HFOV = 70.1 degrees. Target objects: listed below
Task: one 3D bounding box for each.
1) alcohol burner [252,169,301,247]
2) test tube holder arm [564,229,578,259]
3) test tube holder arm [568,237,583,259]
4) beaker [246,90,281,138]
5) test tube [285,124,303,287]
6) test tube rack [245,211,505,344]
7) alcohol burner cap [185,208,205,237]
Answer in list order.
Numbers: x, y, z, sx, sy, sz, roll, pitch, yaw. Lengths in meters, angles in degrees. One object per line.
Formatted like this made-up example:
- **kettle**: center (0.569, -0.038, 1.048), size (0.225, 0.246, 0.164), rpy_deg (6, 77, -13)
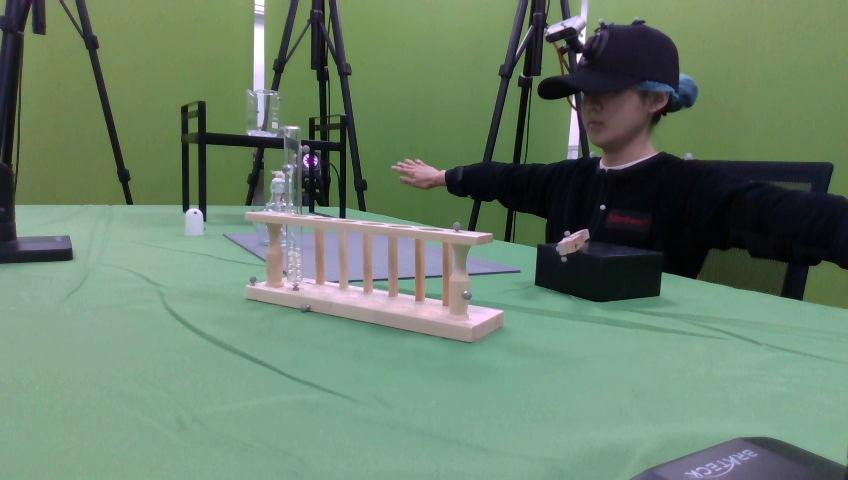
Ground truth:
- **alcohol burner**: center (-0.227, -0.050, 0.936), size (0.078, 0.119, 0.078), rpy_deg (1, 7, 0)
- **test tube holder arm**: center (0.173, 0.002, 0.706), size (0.013, 0.015, 0.179), rpy_deg (7, 9, 14)
- **test tube holder arm**: center (0.166, 0.008, 0.661), size (0.010, 0.015, 0.088), rpy_deg (8, 9, 18)
- **beaker**: center (-0.354, -0.275, 1.322), size (0.074, 0.100, 0.084), rpy_deg (4, 8, 12)
- **test tube**: center (-0.120, -0.030, 0.558), size (0.017, 0.150, 0.017), rpy_deg (2, 10, 0)
- **test tube rack**: center (-0.049, 0.025, 0.547), size (0.241, 0.085, 0.067), rpy_deg (7, 8, 29)
- **alcohol burner cap**: center (-0.391, -0.031, 1.032), size (0.034, 0.048, 0.034), rpy_deg (3, 8, 0)
